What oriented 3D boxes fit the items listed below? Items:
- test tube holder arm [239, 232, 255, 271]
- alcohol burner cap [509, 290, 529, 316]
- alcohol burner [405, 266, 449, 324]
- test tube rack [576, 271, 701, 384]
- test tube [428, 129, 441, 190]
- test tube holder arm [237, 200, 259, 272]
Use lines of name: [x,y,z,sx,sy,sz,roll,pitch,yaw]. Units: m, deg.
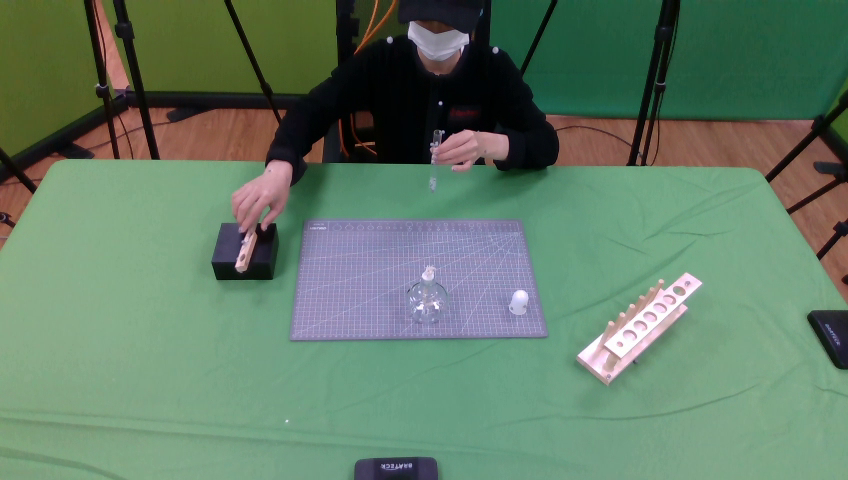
test tube holder arm: [-0.317,0.020,1.089,0.010,0.015,0.087,2,45,-2]
alcohol burner cap: [0.171,0.110,1.086,0.034,0.048,0.033,2,45,-2]
alcohol burner: [0.005,0.089,1.043,0.078,0.120,0.077,1,45,-1]
test tube rack: [0.373,0.138,1.047,0.242,0.085,0.066,-31,55,-29]
test tube: [0.019,-0.150,1.161,0.017,0.151,0.017,2,50,-3]
test tube holder arm: [-0.324,-0.012,1.120,0.013,0.015,0.177,0,45,-4]
